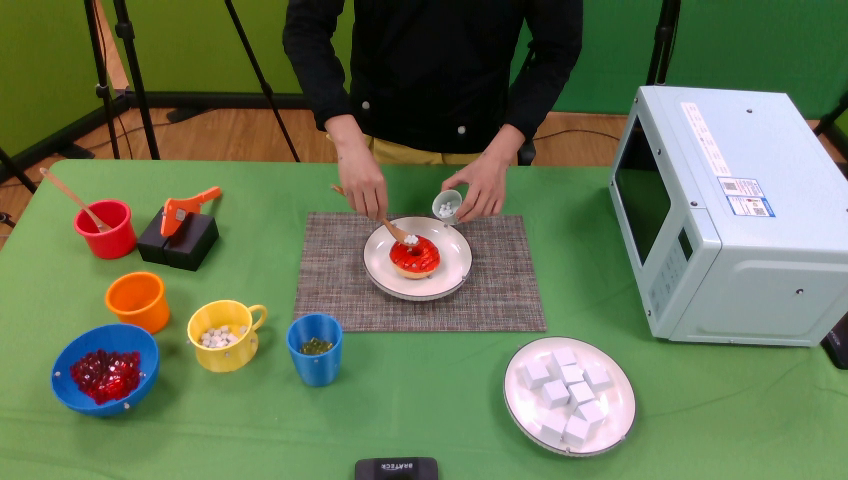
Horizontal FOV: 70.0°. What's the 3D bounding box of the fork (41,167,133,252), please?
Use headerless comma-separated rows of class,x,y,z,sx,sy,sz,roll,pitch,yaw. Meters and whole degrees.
fork,-0.624,-0.056,1.121,0.208,0.018,0.028,49,51,-15

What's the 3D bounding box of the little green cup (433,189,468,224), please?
little green cup,0.052,-0.060,1.139,0.061,0.039,0.061,-10,66,24

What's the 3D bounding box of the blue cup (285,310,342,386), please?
blue cup,-0.170,0.179,0.958,0.093,0.101,0.092,2,44,-1

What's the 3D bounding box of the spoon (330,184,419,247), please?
spoon,-0.086,-0.045,1.077,0.194,0.021,0.041,38,28,-22

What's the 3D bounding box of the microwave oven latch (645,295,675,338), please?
microwave oven latch,0.412,0.134,1.061,0.030,0.029,0.078,3,45,0

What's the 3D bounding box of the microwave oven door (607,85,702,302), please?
microwave oven door,0.423,-0.094,1.141,0.039,0.245,0.353,2,46,-1

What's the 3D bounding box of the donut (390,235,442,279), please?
donut,-0.015,0.032,1.135,0.099,0.048,0.098,3,44,-3

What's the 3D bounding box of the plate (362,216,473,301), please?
plate,-0.012,0.038,1.144,0.209,0.038,0.208,2,46,-2

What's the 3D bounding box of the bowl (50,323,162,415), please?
bowl,-0.472,0.209,0.924,0.151,0.077,0.150,3,45,-2

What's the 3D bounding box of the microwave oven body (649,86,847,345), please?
microwave oven body,0.568,-0.053,1.118,0.326,0.261,0.439,2,45,-1

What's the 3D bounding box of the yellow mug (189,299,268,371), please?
yellow mug,-0.316,0.148,1.002,0.131,0.064,0.099,-32,56,-31

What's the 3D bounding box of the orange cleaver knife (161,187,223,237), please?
orange cleaver knife,-0.448,-0.058,1.181,0.012,0.077,0.211,13,17,6

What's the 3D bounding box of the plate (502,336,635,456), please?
plate,0.225,0.248,0.963,0.208,0.039,0.206,2,46,-2
